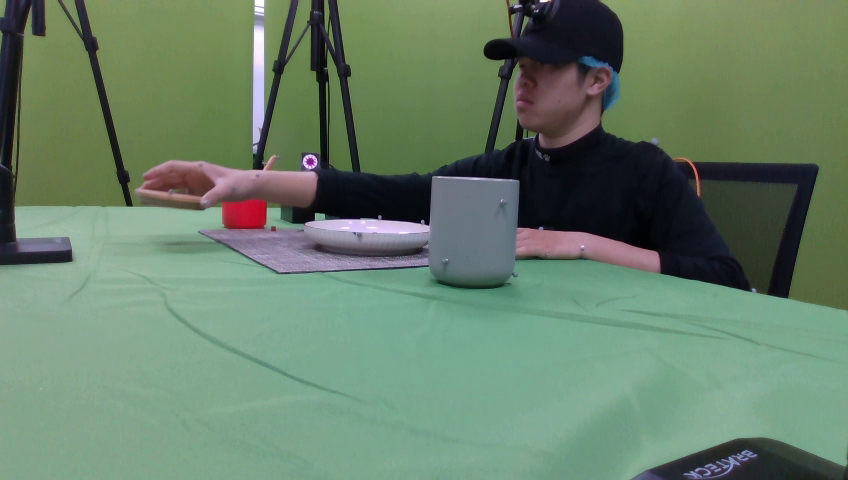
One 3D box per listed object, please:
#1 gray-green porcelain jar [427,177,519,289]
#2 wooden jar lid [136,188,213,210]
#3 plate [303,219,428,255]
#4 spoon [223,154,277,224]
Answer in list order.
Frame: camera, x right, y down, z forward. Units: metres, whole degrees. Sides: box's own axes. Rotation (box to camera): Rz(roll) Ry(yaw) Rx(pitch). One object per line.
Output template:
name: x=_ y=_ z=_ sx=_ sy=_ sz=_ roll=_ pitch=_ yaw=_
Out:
gray-green porcelain jar: x=0.057 y=-0.010 z=0.722 sx=0.106 sy=0.126 sz=0.106 roll=2 pitch=7 yaw=0
wooden jar lid: x=-0.377 y=-0.061 z=0.917 sx=0.108 sy=0.020 sz=0.108 roll=9 pitch=3 yaw=0
plate: x=-0.085 y=-0.005 z=0.952 sx=0.208 sy=0.039 sz=0.207 roll=3 pitch=7 yaw=0
spoon: x=-0.345 y=-0.106 z=1.214 sx=0.041 sy=0.022 sz=0.194 roll=2 pitch=45 yaw=26
